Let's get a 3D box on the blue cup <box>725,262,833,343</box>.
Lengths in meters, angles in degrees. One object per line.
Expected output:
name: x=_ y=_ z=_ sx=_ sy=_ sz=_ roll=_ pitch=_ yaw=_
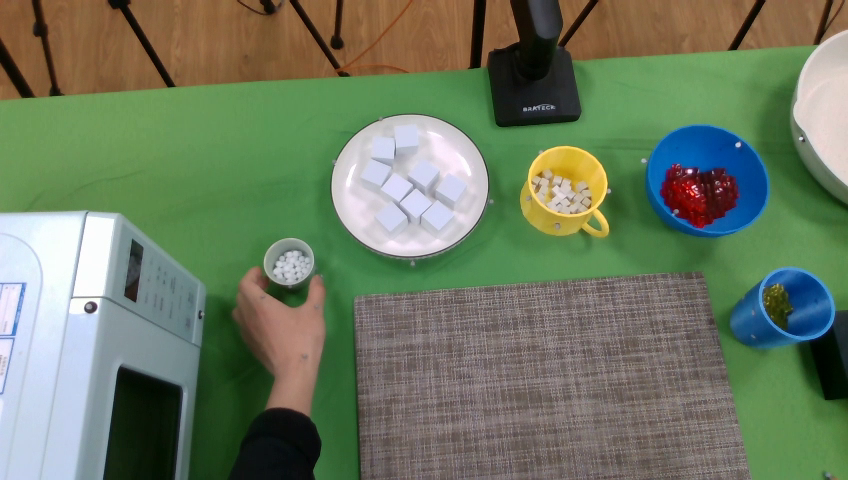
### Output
blue cup: x=0.410 y=0.083 z=0.719 sx=0.093 sy=0.101 sz=0.092 roll=1 pitch=69 yaw=-2

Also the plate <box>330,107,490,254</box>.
plate: x=-0.018 y=-0.076 z=0.800 sx=0.208 sy=0.039 sz=0.206 roll=0 pitch=71 yaw=-1

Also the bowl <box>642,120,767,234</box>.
bowl: x=0.348 y=-0.070 z=0.783 sx=0.151 sy=0.077 sz=0.150 roll=0 pitch=72 yaw=-1

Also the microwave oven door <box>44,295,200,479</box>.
microwave oven door: x=-0.277 y=0.249 z=0.556 sx=0.039 sy=0.245 sz=0.353 roll=-2 pitch=71 yaw=-1

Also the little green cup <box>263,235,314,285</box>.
little green cup: x=-0.168 y=0.027 z=0.760 sx=0.061 sy=0.039 sz=0.061 roll=0 pitch=73 yaw=-1

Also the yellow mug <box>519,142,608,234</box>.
yellow mug: x=0.188 y=-0.057 z=0.782 sx=0.100 sy=0.064 sz=0.130 roll=-40 pitch=77 yaw=-13

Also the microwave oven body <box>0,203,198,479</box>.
microwave oven body: x=-0.424 y=0.214 z=0.571 sx=0.326 sy=0.261 sz=0.438 roll=-1 pitch=72 yaw=-2

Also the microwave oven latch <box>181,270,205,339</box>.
microwave oven latch: x=-0.280 y=0.077 z=0.723 sx=0.030 sy=0.029 sz=0.078 roll=0 pitch=72 yaw=-1

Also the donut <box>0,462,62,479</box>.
donut: x=-0.401 y=0.270 z=0.595 sx=0.099 sy=0.048 sz=0.098 roll=1 pitch=71 yaw=-3

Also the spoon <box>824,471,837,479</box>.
spoon: x=0.416 y=0.338 z=0.674 sx=0.041 sy=0.022 sz=0.193 roll=36 pitch=74 yaw=24

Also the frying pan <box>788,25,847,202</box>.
frying pan: x=0.632 y=-0.066 z=0.772 sx=0.307 sy=0.103 sz=0.483 roll=1 pitch=63 yaw=0

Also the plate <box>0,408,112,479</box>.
plate: x=-0.413 y=0.276 z=0.605 sx=0.209 sy=0.038 sz=0.208 roll=1 pitch=72 yaw=-2
